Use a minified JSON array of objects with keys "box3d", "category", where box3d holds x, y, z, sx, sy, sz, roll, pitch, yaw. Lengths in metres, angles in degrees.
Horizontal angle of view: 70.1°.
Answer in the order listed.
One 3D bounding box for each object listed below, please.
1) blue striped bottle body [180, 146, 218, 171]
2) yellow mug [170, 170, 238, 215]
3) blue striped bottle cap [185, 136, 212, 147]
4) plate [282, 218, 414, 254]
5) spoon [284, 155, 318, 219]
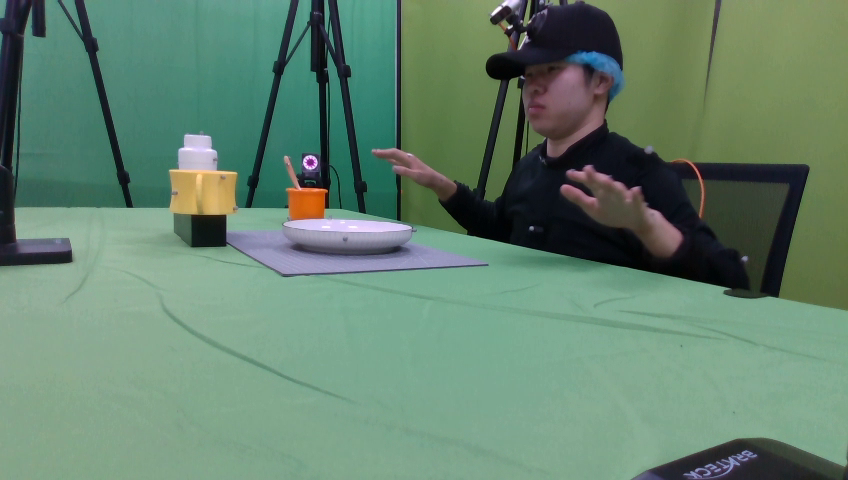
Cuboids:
[{"box3d":[-0.392,-0.118,1.053,0.063,0.120,0.063,3,7,0],"category":"blue striped bottle body"},{"box3d":[-0.342,-0.074,0.939,0.100,0.064,0.130,0,8,-16],"category":"yellow mug"},{"box3d":[-0.390,-0.169,1.047,0.044,0.020,0.044,4,10,0],"category":"blue striped bottle cap"},{"box3d":[-0.121,-0.007,0.971,0.208,0.039,0.207,2,7,0],"category":"plate"},{"box3d":[-0.286,-0.122,1.367,0.042,0.021,0.193,-6,50,-36],"category":"spoon"}]
